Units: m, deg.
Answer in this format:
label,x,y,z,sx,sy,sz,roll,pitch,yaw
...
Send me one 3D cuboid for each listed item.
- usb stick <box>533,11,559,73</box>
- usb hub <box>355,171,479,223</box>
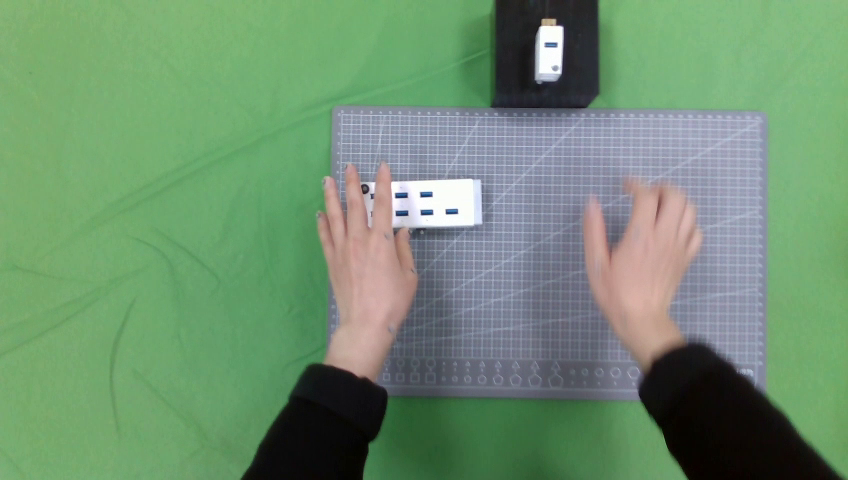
label,x,y,z,sx,sy,sz,roll,pitch,yaw
usb stick,0.114,-0.189,0.570,0.021,0.027,0.059,1,86,3
usb hub,-0.007,-0.044,0.614,0.125,0.025,0.049,-1,87,0
